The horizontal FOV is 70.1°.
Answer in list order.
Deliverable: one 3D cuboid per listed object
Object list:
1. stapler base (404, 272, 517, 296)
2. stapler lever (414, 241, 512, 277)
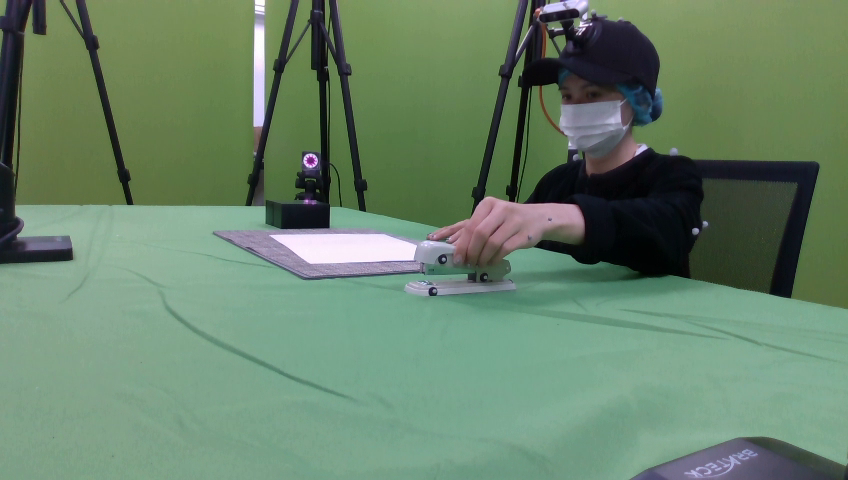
[{"bbox_3d":[0.041,0.045,0.669,0.131,0.024,0.041,1,9,-29],"label":"stapler base"},{"bbox_3d":[0.044,0.021,0.668,0.119,0.040,0.026,0,9,-29],"label":"stapler lever"}]
